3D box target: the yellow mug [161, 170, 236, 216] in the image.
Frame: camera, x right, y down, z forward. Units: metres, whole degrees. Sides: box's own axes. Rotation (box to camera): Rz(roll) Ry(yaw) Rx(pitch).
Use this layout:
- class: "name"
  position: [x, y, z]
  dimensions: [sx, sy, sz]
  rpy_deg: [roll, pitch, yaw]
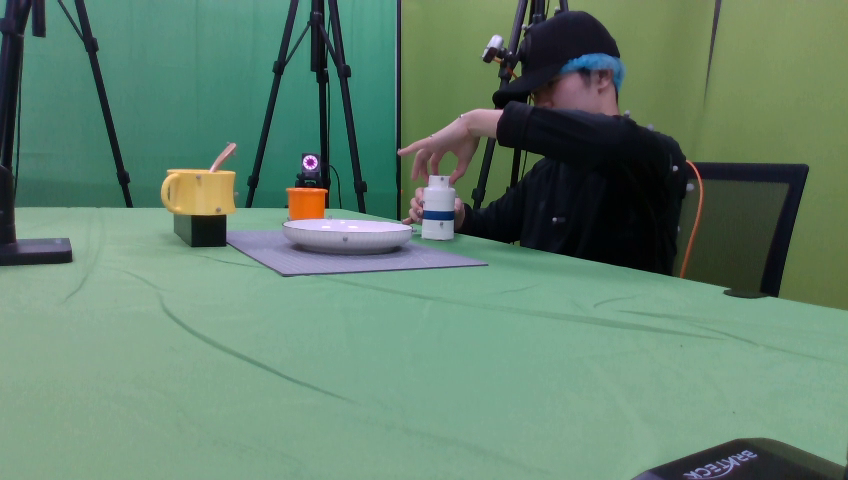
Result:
- class: "yellow mug"
  position: [-0.354, -0.074, 0.935]
  dimensions: [0.099, 0.064, 0.131]
  rpy_deg: [5, 9, 21]

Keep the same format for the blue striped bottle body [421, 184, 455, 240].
- class: "blue striped bottle body"
  position: [0.027, -0.063, 1.157]
  dimensions: [0.063, 0.120, 0.063]
  rpy_deg: [2, 7, 0]

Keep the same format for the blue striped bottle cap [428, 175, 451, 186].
- class: "blue striped bottle cap"
  position: [0.029, -0.113, 1.150]
  dimensions: [0.044, 0.020, 0.044]
  rpy_deg: [1, 5, 0]

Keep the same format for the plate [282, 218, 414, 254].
- class: "plate"
  position: [-0.121, -0.007, 0.971]
  dimensions: [0.208, 0.039, 0.207]
  rpy_deg: [2, 7, 0]

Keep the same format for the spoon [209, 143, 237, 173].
- class: "spoon"
  position: [-0.341, -0.113, 0.990]
  dimensions: [0.041, 0.021, 0.193]
  rpy_deg: [1, 39, 6]
